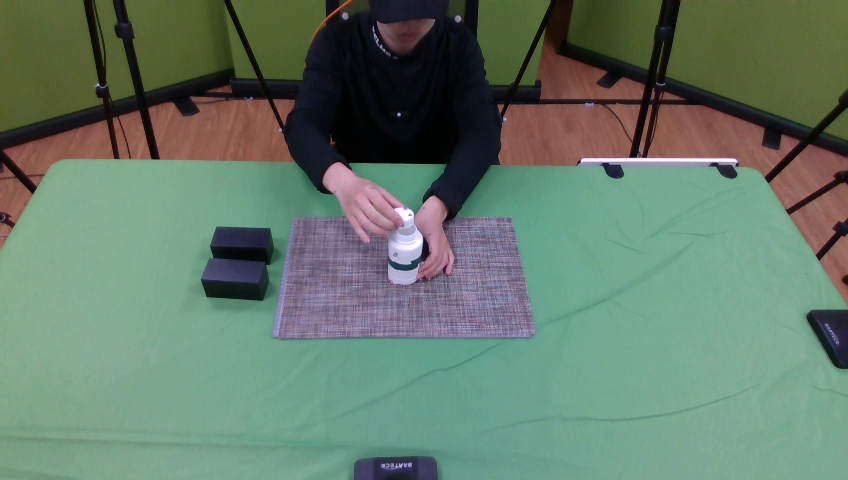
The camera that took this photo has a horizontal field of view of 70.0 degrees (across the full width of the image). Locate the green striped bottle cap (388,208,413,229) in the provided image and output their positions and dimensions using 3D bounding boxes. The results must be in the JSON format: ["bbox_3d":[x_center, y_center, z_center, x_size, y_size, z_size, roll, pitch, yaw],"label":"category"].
[{"bbox_3d":[-0.041,-0.038,1.056,0.044,0.020,0.044,1,36,0],"label":"green striped bottle cap"}]

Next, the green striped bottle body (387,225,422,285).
[{"bbox_3d":[-0.035,0.021,1.102,0.063,0.120,0.063,2,46,-2],"label":"green striped bottle body"}]
